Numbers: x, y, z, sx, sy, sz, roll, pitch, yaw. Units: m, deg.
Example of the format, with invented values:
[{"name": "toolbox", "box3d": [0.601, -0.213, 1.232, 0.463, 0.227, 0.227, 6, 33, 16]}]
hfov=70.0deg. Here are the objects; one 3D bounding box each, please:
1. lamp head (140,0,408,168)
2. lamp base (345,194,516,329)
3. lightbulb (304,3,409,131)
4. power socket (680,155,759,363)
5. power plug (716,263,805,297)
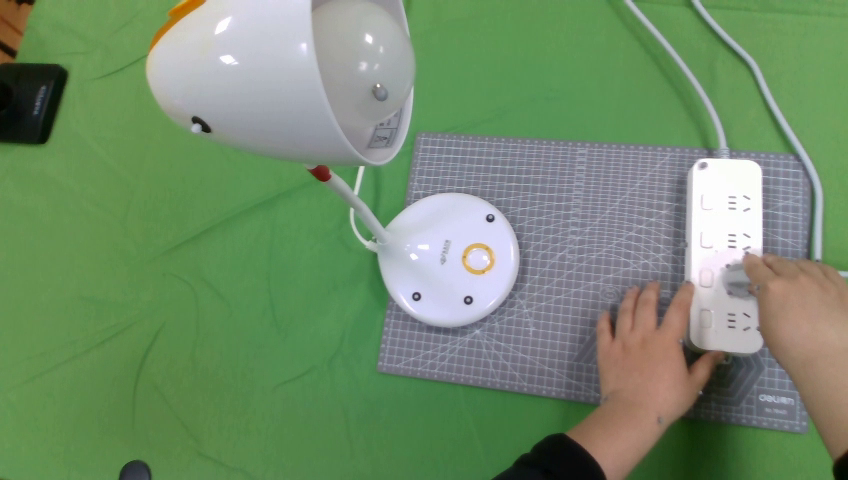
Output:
[{"name": "lamp head", "box3d": [-0.080, -0.088, 0.319, 0.122, 0.113, 0.112, -4, 74, 25]}, {"name": "lamp base", "box3d": [-0.001, 0.002, 0.626, 0.179, 0.181, 0.159, -1, 74, 13]}, {"name": "lightbulb", "box3d": [-0.059, -0.086, 0.303, 0.107, 0.060, 0.059, 6, 76, 20]}, {"name": "power socket", "box3d": [0.313, 0.016, 0.644, 0.072, 0.033, 0.225, 4, 76, 10]}, {"name": "power plug", "box3d": [0.335, 0.045, 0.614, 0.072, 0.053, 0.035, 17, 78, 9]}]
